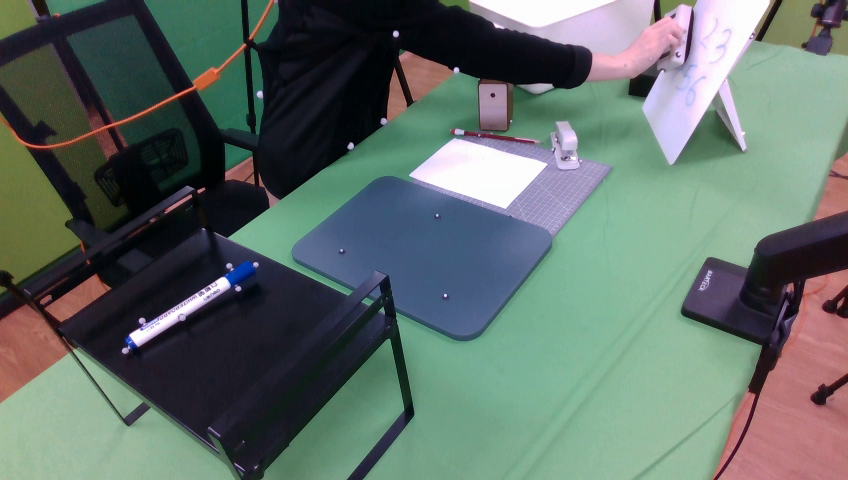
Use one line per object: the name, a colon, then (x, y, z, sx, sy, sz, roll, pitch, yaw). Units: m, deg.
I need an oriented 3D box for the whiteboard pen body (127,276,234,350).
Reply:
whiteboard pen body: (-0.251, 0.070, 0.649, 0.141, 0.017, 0.017, -36, 48, -26)

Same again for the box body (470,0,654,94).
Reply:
box body: (0.319, -0.498, 1.405, 0.365, 0.161, 0.252, -26, 44, -21)

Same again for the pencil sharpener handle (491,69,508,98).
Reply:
pencil sharpener handle: (0.155, -0.330, 1.254, 0.036, 0.068, 0.030, 17, 44, 3)

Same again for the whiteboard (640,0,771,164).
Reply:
whiteboard: (0.543, -0.299, 1.076, 0.144, 0.305, 0.216, 12, 40, -6)

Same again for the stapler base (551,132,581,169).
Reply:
stapler base: (0.268, -0.178, 1.142, 0.041, 0.024, 0.130, 1, 37, 3)

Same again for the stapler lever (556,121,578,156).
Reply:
stapler lever: (0.266, -0.198, 1.128, 0.027, 0.040, 0.117, 0, 37, 3)

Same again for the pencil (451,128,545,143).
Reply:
pencil: (0.145, -0.207, 1.205, 0.193, 0.012, 0.012, 11, 44, 20)

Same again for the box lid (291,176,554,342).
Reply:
box lid: (-0.005, 0.011, 0.972, 0.368, 0.015, 0.264, 22, 49, 30)

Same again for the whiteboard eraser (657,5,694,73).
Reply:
whiteboard eraser: (0.463, -0.368, 1.110, 0.042, 0.112, 0.055, 14, -7, -18)

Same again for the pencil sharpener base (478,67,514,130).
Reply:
pencil sharpener base: (0.148, -0.287, 1.225, 0.061, 0.107, 0.076, 5, 42, 15)

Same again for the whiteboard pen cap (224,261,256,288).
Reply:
whiteboard pen cap: (-0.207, 0.039, 0.677, 0.033, 0.018, 0.018, -35, 47, -18)
